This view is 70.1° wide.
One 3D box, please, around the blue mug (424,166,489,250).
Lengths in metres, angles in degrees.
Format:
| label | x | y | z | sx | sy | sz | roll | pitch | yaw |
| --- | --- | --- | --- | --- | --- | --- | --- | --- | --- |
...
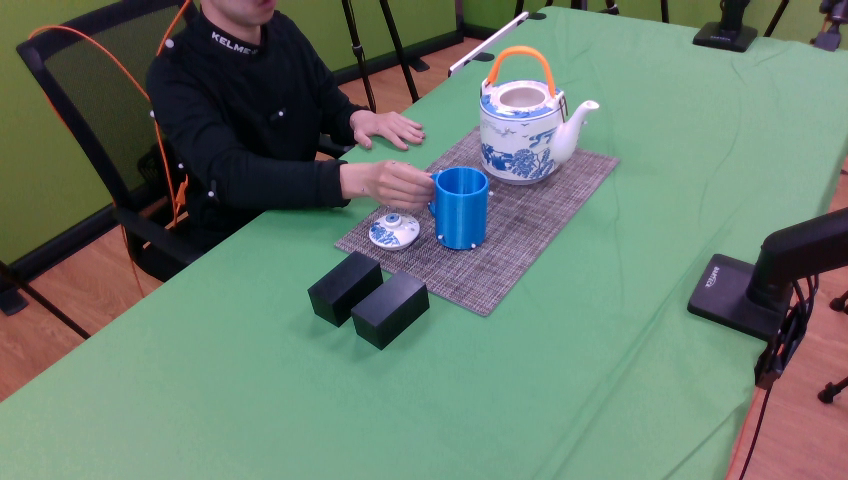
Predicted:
| label | x | y | z | sx | sy | sz | roll | pitch | yaw |
| --- | --- | --- | --- | --- | --- | --- | --- | --- | --- |
| blue mug | 0.045 | -0.056 | 0.952 | 0.115 | 0.106 | 0.082 | 27 | 47 | 30 |

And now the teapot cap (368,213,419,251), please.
| label | x | y | z | sx | sy | sz | roll | pitch | yaw |
| --- | --- | --- | --- | --- | --- | --- | --- | --- | --- |
| teapot cap | -0.050 | -0.018 | 0.975 | 0.085 | 0.044 | 0.084 | -4 | 43 | 4 |

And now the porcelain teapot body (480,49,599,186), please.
| label | x | y | z | sx | sy | sz | roll | pitch | yaw |
| --- | --- | --- | --- | --- | --- | --- | --- | --- | --- |
| porcelain teapot body | 0.192 | -0.208 | 1.023 | 0.204 | 0.226 | 0.145 | 16 | 46 | 25 |
